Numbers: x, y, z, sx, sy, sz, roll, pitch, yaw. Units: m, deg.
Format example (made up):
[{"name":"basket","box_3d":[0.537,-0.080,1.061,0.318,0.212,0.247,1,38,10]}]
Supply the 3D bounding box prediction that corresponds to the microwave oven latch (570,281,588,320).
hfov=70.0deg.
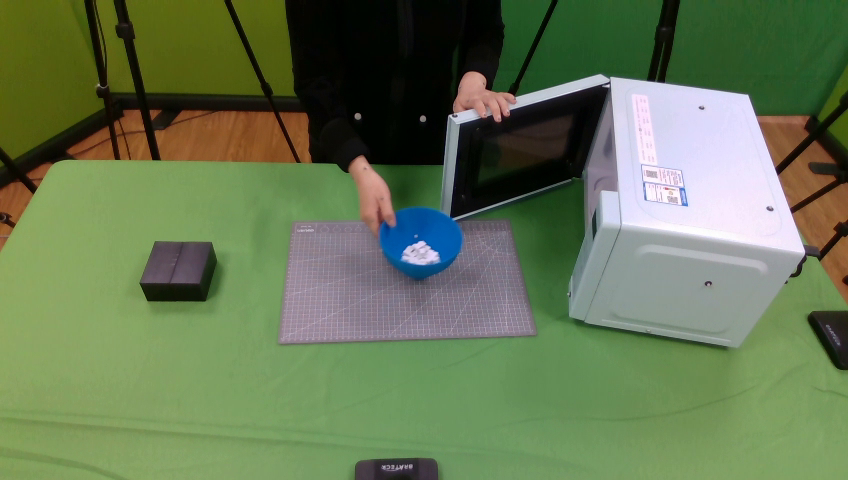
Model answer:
[{"name":"microwave oven latch","box_3d":[0.275,0.105,1.082,0.030,0.029,0.079,9,45,6]}]

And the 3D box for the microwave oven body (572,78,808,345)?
[{"name":"microwave oven body","box_3d":[0.455,-0.063,1.125,0.326,0.261,0.439,8,45,5]}]

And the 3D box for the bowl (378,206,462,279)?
[{"name":"bowl","box_3d":[-0.009,0.017,1.094,0.151,0.077,0.150,3,45,-3]}]

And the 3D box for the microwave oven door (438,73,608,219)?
[{"name":"microwave oven door","box_3d":[0.198,-0.187,1.217,0.356,0.245,0.039,-19,51,-21]}]
